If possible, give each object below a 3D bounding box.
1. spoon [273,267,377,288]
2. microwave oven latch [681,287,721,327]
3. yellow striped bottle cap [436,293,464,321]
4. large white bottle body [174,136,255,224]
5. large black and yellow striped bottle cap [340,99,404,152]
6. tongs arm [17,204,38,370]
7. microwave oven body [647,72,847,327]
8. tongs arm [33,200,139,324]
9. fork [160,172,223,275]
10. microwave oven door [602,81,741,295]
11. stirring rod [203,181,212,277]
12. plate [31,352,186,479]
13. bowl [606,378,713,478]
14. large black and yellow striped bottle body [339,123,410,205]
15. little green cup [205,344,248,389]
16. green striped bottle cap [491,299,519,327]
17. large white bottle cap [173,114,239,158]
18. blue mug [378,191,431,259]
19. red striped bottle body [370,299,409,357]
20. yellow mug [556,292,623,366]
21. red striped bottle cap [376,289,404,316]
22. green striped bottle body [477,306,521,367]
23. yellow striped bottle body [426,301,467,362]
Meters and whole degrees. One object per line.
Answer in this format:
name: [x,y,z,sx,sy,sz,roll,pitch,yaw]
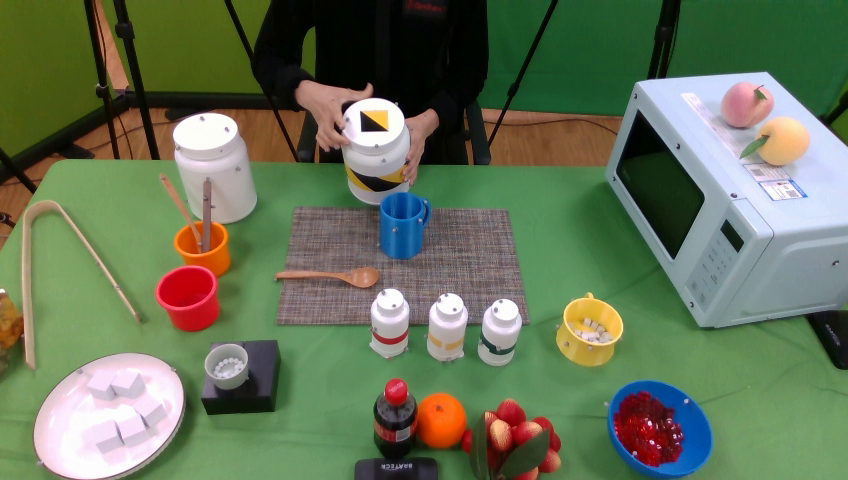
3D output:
spoon: [-0.183,0.065,1.115,0.194,0.022,0.041,3,67,-1]
microwave oven latch: [0.494,0.119,1.087,0.030,0.029,0.078,-6,46,-9]
yellow striped bottle cap: [0.041,0.106,0.959,0.044,0.019,0.044,0,50,1]
large white bottle body: [-0.408,-0.137,1.183,0.131,0.185,0.130,2,46,-2]
large black and yellow striped bottle cap: [-0.094,-0.209,1.096,0.115,0.019,0.114,1,60,-1]
tongs arm: [-0.698,0.069,1.068,0.028,0.028,0.385,-20,50,-13]
microwave oven body: [0.607,-0.089,1.164,0.326,0.261,0.438,-7,46,-10]
tongs arm: [-0.622,0.034,1.105,0.051,0.026,0.382,-32,56,-26]
fork: [-0.425,-0.030,1.103,0.028,0.018,0.207,-29,98,-19]
microwave oven door: [0.456,-0.107,1.162,0.039,0.245,0.353,-7,47,-11]
stirring rod: [-0.396,-0.021,1.108,0.014,0.006,0.176,-1,89,-1]
plate: [-0.459,0.262,0.898,0.209,0.038,0.208,2,46,-2]
bowl: [0.340,0.292,0.906,0.151,0.077,0.150,2,46,-2]
large black and yellow striped bottle body: [-0.094,-0.167,1.169,0.131,0.185,0.130,0,60,0]
little green cup: [-0.294,0.191,0.909,0.061,0.039,0.061,1,48,-1]
green striped bottle cap: [0.128,0.115,0.958,0.044,0.020,0.044,1,47,-1]
large white bottle cap: [-0.403,-0.195,1.122,0.115,0.018,0.114,2,47,-2]
blue mug: [-0.033,-0.035,1.167,0.116,0.106,0.082,-30,55,-29]
red striped bottle body: [-0.057,0.135,0.997,0.063,0.120,0.062,2,47,-2]
yellow mug: [0.285,0.145,1.051,0.100,0.064,0.130,7,45,3]
red striped bottle cap: [-0.054,0.098,0.958,0.044,0.018,0.044,0,48,0]
green striped bottle body: [0.124,0.151,0.995,0.063,0.120,0.063,2,46,-2]
yellow striped bottle body: [0.037,0.142,0.996,0.063,0.121,0.062,2,46,-2]
